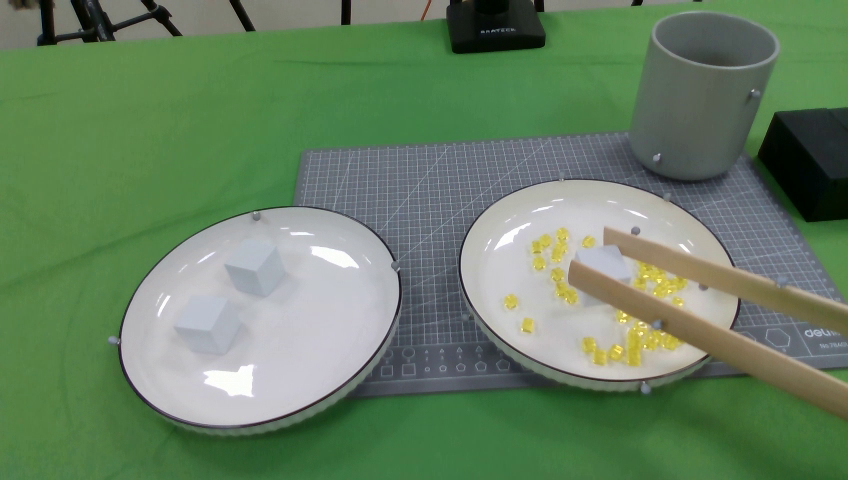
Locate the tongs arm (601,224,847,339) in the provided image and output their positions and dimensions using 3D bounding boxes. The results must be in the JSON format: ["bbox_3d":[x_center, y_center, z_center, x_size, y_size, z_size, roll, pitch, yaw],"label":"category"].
[{"bbox_3d":[0.268,0.072,0.331,0.381,0.027,0.050,23,50,31],"label":"tongs arm"}]

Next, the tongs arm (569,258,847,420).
[{"bbox_3d":[0.249,0.088,0.317,0.384,0.028,0.028,25,48,32],"label":"tongs arm"}]

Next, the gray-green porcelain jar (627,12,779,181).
[{"bbox_3d":[0.249,-0.127,0.560,0.106,0.128,0.105,-2,45,2],"label":"gray-green porcelain jar"}]

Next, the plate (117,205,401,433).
[{"bbox_3d":[-0.120,0.055,0.464,0.209,0.038,0.207,-3,45,3],"label":"plate"}]

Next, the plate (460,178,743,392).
[{"bbox_3d":[0.132,0.031,0.473,0.207,0.039,0.205,-1,45,2],"label":"plate"}]
